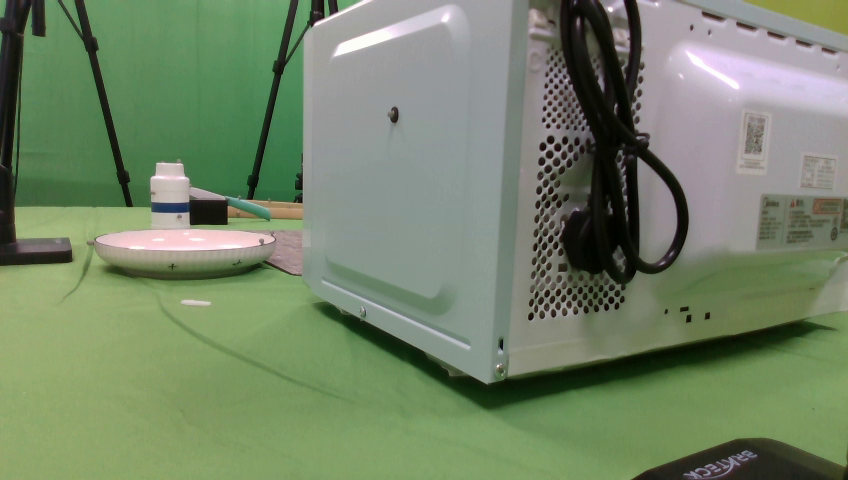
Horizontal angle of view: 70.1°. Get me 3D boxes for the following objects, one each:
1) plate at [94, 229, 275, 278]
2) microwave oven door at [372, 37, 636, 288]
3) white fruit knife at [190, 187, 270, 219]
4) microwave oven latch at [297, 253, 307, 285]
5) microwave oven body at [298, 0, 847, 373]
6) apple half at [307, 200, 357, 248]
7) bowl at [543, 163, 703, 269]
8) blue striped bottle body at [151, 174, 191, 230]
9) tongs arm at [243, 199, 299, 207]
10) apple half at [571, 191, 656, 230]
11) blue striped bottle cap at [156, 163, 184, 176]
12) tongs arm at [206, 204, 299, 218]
[{"bbox_3d":[-0.291,0.016,0.749,0.208,0.039,0.207,2,7,0],"label":"plate"},{"bbox_3d":[0.110,-0.080,0.686,0.358,0.243,0.039,-2,9,-33],"label":"microwave oven door"},{"bbox_3d":[-0.413,-0.081,1.270,0.208,0.027,0.016,17,14,-41],"label":"white fruit knife"},{"bbox_3d":[-0.082,0.027,0.582,0.079,0.029,0.030,-1,7,-33],"label":"microwave oven latch"},{"bbox_3d":[0.151,-0.055,0.542,0.444,0.260,0.324,-1,7,-33],"label":"microwave oven body"},{"bbox_3d":[-0.135,-0.024,0.941,0.053,0.074,0.081,13,8,39],"label":"apple half"},{"bbox_3d":[0.181,-0.020,0.585,0.151,0.077,0.151,13,7,-1],"label":"bowl"},{"bbox_3d":[-0.439,-0.071,1.052,0.063,0.120,0.063,2,7,0],"label":"blue striped bottle body"},{"bbox_3d":[-0.309,-0.079,1.487,0.385,0.026,0.050,3,7,-2],"label":"tongs arm"},{"bbox_3d":[0.181,-0.030,0.584,0.081,0.033,0.081,9,-6,1],"label":"apple half"},{"bbox_3d":[-0.438,-0.122,1.045,0.044,0.020,0.044,4,6,0],"label":"blue striped bottle cap"},{"bbox_3d":[-0.302,-0.065,1.407,0.389,0.028,0.028,1,4,-15],"label":"tongs arm"}]
